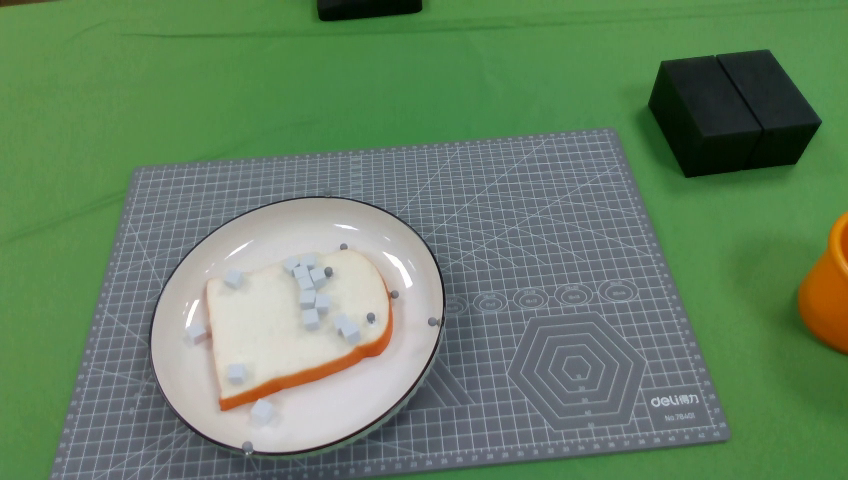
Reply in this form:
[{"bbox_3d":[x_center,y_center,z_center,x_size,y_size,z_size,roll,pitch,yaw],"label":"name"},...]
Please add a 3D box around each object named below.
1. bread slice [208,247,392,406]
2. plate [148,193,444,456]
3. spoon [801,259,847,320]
[{"bbox_3d":[-0.091,0.053,0.446,0.132,0.019,0.103,-17,55,-9],"label":"bread slice"},{"bbox_3d":[-0.088,0.056,0.441,0.209,0.038,0.207,-1,54,1],"label":"plate"},{"bbox_3d":[0.345,0.004,0.391,0.193,0.022,0.041,-30,43,32],"label":"spoon"}]
